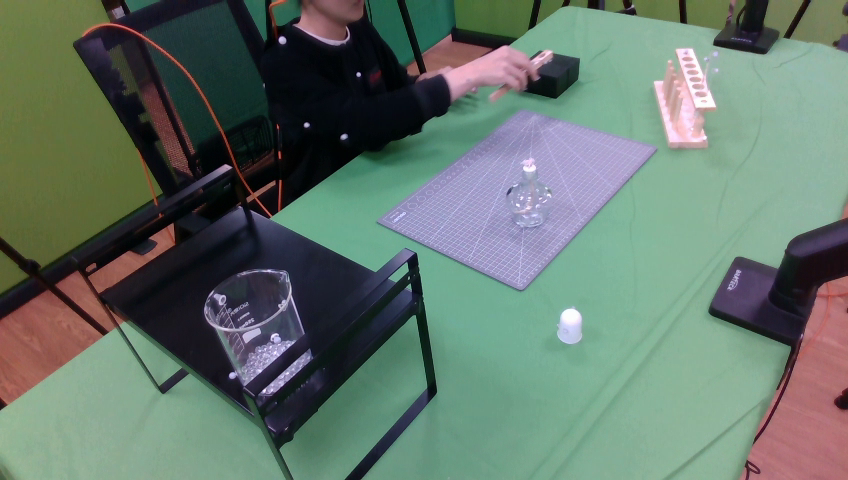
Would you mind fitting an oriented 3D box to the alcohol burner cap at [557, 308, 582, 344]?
[{"bbox_3d":[0.194,0.111,0.802,0.034,0.048,0.033,-4,39,4],"label":"alcohol burner cap"}]

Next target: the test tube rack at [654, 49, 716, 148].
[{"bbox_3d":[0.502,-0.281,1.176,0.066,0.085,0.241,2,41,11],"label":"test tube rack"}]

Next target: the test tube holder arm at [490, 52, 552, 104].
[{"bbox_3d":[0.192,-0.322,1.193,0.179,0.015,0.013,-42,46,-22],"label":"test tube holder arm"}]

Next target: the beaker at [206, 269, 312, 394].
[{"bbox_3d":[-0.146,0.086,0.560,0.073,0.101,0.084,19,46,27],"label":"beaker"}]

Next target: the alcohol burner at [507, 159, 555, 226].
[{"bbox_3d":[0.172,-0.081,0.969,0.078,0.119,0.077,-4,42,4],"label":"alcohol burner"}]

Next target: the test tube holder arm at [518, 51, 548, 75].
[{"bbox_3d":[0.220,-0.352,1.214,0.088,0.015,0.010,-41,46,-22],"label":"test tube holder arm"}]

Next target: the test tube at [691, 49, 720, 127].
[{"bbox_3d":[0.505,-0.270,1.087,0.017,0.151,0.017,-2,41,2],"label":"test tube"}]
